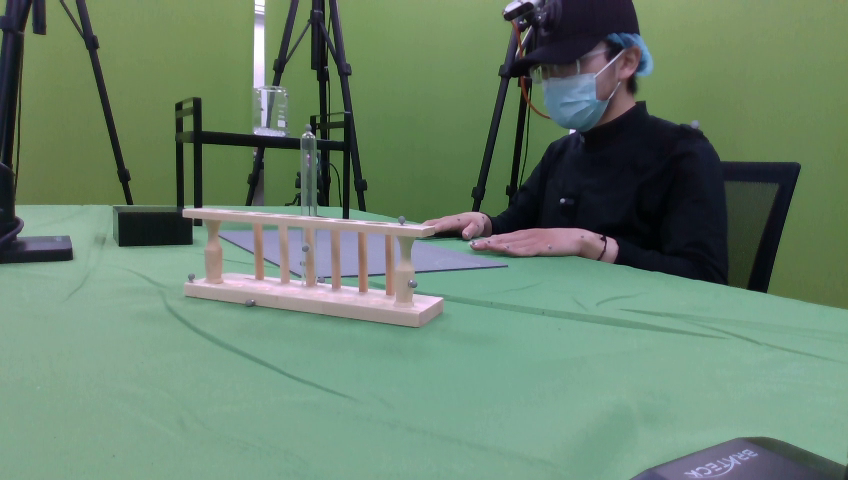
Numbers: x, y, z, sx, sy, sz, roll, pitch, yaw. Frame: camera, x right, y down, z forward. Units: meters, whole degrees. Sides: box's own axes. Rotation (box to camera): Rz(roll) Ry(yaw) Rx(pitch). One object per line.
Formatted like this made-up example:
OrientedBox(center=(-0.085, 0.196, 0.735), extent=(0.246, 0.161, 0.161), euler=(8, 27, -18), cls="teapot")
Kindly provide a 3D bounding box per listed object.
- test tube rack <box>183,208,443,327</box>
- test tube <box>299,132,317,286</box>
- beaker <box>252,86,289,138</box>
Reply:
OrientedBox(center=(-0.106, 0.019, 0.570), extent=(0.241, 0.085, 0.067), euler=(5, 8, 19), cls="test tube rack")
OrientedBox(center=(-0.113, -0.029, 0.588), extent=(0.017, 0.150, 0.017), euler=(1, 7, 0), cls="test tube")
OrientedBox(center=(-0.319, -0.263, 1.250), extent=(0.074, 0.100, 0.084), euler=(5, 8, 21), cls="beaker")
